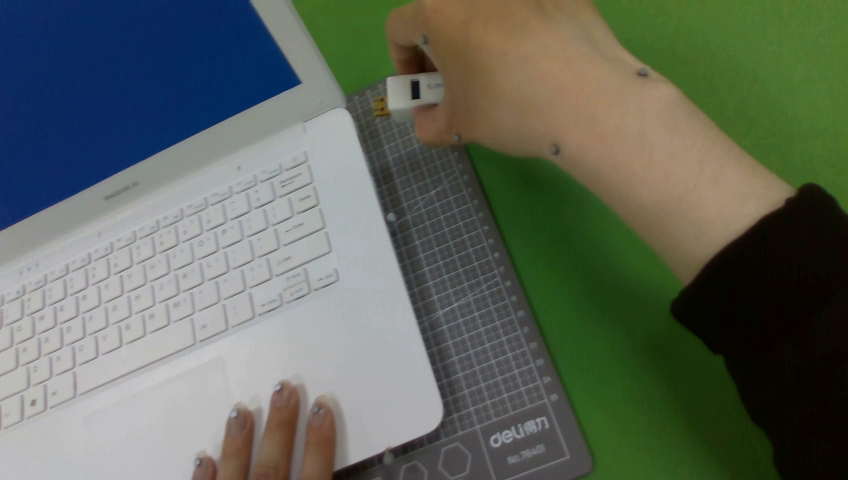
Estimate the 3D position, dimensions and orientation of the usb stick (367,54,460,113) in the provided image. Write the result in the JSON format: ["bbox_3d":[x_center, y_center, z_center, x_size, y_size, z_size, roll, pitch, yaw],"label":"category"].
[{"bbox_3d":[-0.009,-0.093,0.368,0.059,0.027,0.021,-10,82,16],"label":"usb stick"}]

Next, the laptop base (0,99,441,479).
[{"bbox_3d":[-0.180,0.067,0.404,0.354,0.023,0.233,-24,66,8],"label":"laptop base"}]

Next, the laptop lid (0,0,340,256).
[{"bbox_3d":[-0.259,-0.104,0.373,0.356,0.244,0.013,-24,45,9],"label":"laptop lid"}]
